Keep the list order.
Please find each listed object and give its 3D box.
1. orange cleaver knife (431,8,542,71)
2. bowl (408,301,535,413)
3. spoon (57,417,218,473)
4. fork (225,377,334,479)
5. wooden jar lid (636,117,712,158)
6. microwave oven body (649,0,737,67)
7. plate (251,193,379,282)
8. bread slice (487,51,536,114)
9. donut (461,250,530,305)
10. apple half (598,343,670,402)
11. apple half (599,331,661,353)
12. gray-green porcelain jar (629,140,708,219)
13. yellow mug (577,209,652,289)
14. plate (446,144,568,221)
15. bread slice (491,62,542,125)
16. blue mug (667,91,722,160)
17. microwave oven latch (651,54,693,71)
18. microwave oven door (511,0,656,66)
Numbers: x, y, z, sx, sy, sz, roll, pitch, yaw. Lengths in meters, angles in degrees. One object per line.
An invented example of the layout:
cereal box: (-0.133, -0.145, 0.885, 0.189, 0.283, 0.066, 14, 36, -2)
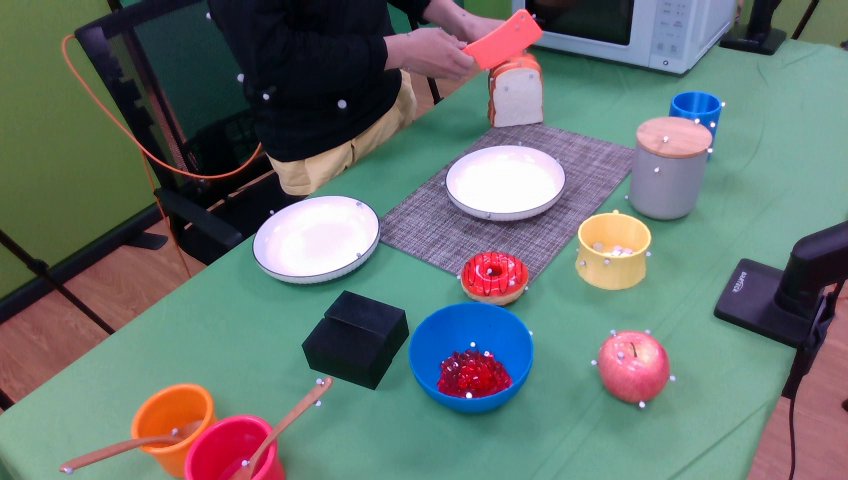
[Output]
orange cleaver knife: (0.116, -0.356, 1.124, 0.211, 0.078, 0.012, -26, 41, 10)
bowl: (0.060, 0.156, 0.739, 0.151, 0.077, 0.150, -4, 40, 4)
spoon: (-0.304, 0.221, 0.661, 0.041, 0.195, 0.021, 19, 92, 27)
fork: (-0.163, 0.216, 0.646, 0.207, 0.019, 0.028, -49, 42, 16)
wooden jar lid: (0.377, -0.151, 0.917, 0.108, 0.021, 0.108, -2, 41, 3)
microwave oven body: (0.475, -0.602, 1.411, 0.438, 0.261, 0.327, 23, 50, 32)
plate: (-0.174, -0.001, 0.984, 0.209, 0.038, 0.208, -4, 40, 4)
bread slice: (0.183, -0.318, 1.229, 0.107, 0.135, 0.018, -5, 43, 0)
donut: (0.103, 0.053, 0.872, 0.099, 0.048, 0.098, -5, 40, 4)
apple half: (0.247, 0.161, 0.710, 0.081, 0.075, 0.053, 2, 47, 5)
apple half: (0.249, 0.134, 0.738, 0.081, 0.081, 0.032, -2, 46, 7)
gray-green porcelain jar: (0.383, -0.105, 0.958, 0.106, 0.127, 0.105, -4, 41, 4)
yellow mug: (0.279, 0.004, 0.893, 0.099, 0.064, 0.130, 5, 41, 15)
plate: (0.142, -0.096, 1.045, 0.207, 0.039, 0.206, -4, 40, 4)
bread slice: (0.182, -0.287, 1.190, 0.105, 0.132, 0.019, -7, 44, 3)
blue mug: (0.474, -0.207, 1.079, 0.082, 0.106, 0.116, 4, 42, 13)
microwave oven latch: (0.532, -0.386, 1.301, 0.078, 0.029, 0.030, 26, 52, 34)
microwave oven door: (0.351, -0.540, 1.349, 0.353, 0.245, 0.039, 24, 50, 31)
